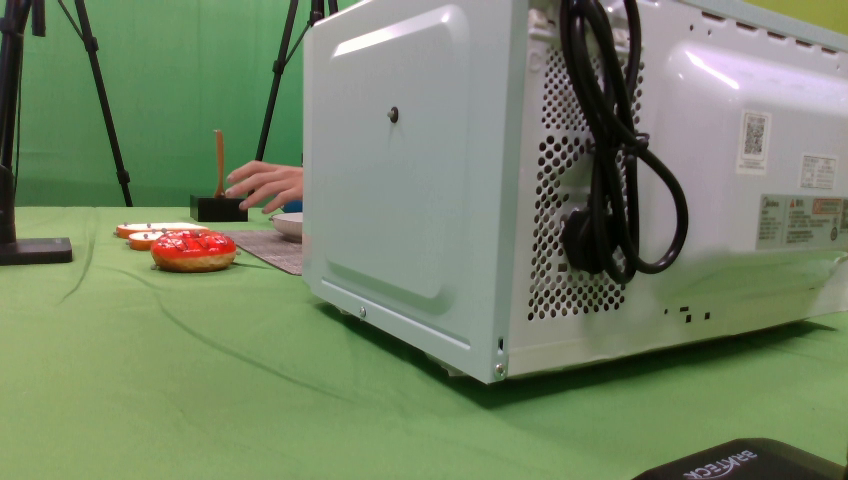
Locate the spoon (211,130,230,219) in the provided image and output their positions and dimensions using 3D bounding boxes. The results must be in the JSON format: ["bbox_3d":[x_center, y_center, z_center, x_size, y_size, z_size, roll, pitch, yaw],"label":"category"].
[{"bbox_3d":[-0.436,-0.138,1.296,0.042,0.193,0.021,-3,23,-27],"label":"spoon"}]

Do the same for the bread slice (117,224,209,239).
[{"bbox_3d":[-0.443,-0.015,1.022,0.132,0.019,0.104,-3,8,-45],"label":"bread slice"}]

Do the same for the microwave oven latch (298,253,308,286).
[{"bbox_3d":[-0.081,0.027,0.582,0.079,0.029,0.030,-1,7,-32],"label":"microwave oven latch"}]

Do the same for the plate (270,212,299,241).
[{"bbox_3d":[-0.163,-0.022,1.058,0.208,0.039,0.207,2,7,0],"label":"plate"}]

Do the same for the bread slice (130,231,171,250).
[{"bbox_3d":[-0.370,0.001,0.916,0.135,0.018,0.106,-1,7,-32],"label":"bread slice"}]

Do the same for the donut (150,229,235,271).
[{"bbox_3d":[-0.285,0.013,0.747,0.099,0.048,0.099,3,10,0],"label":"donut"}]

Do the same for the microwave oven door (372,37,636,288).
[{"bbox_3d":[0.110,-0.080,0.686,0.358,0.243,0.039,-2,9,-33],"label":"microwave oven door"}]

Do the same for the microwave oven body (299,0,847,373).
[{"bbox_3d":[0.152,-0.055,0.542,0.444,0.260,0.324,-2,8,-33],"label":"microwave oven body"}]

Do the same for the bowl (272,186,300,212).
[{"bbox_3d":[-0.254,-0.075,1.318,0.151,0.077,0.151,2,7,0],"label":"bowl"}]
